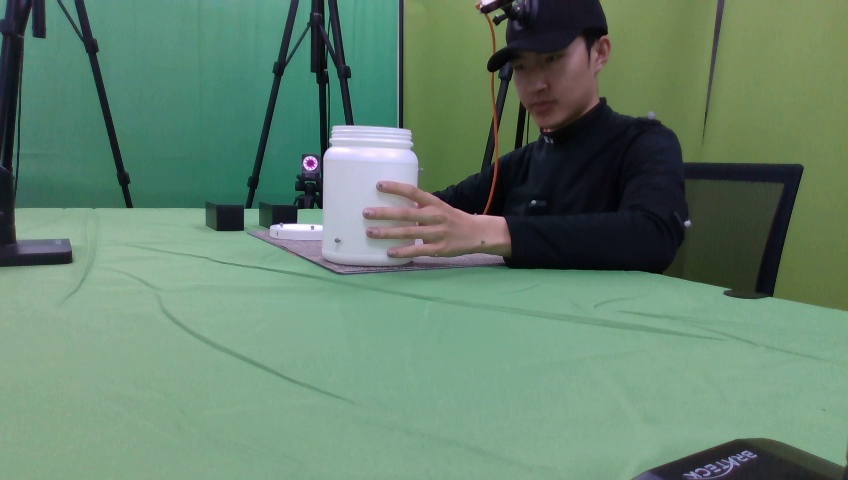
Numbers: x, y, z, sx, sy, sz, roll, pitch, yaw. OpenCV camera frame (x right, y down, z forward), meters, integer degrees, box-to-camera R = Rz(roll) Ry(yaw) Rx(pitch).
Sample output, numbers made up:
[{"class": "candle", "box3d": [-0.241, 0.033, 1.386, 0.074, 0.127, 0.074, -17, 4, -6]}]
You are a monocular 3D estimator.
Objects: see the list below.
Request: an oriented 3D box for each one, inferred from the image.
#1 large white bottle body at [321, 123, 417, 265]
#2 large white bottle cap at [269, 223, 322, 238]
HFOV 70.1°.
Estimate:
[{"class": "large white bottle body", "box3d": [-0.075, -0.064, 0.836, 0.131, 0.184, 0.130, 2, 8, 0]}, {"class": "large white bottle cap", "box3d": [-0.218, -0.017, 1.084, 0.115, 0.018, 0.115, 2, 7, 0]}]
